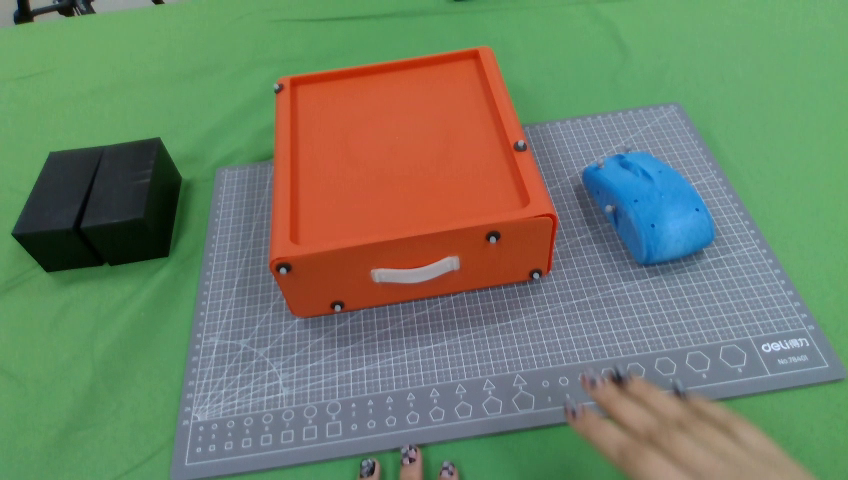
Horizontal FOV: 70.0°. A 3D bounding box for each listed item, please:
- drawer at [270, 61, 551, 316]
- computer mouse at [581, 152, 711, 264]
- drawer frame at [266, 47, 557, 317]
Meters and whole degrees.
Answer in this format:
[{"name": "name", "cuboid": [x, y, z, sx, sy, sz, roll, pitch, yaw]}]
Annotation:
[{"name": "drawer", "cuboid": [-0.019, -0.053, 0.498, 0.194, 0.074, 0.209, -10, 49, -1]}, {"name": "computer mouse", "cuboid": [0.176, -0.033, 0.489, 0.063, 0.041, 0.116, -16, 46, -4]}, {"name": "drawer frame", "cuboid": [-0.019, -0.055, 0.499, 0.202, 0.083, 0.211, -10, 49, -2]}]
